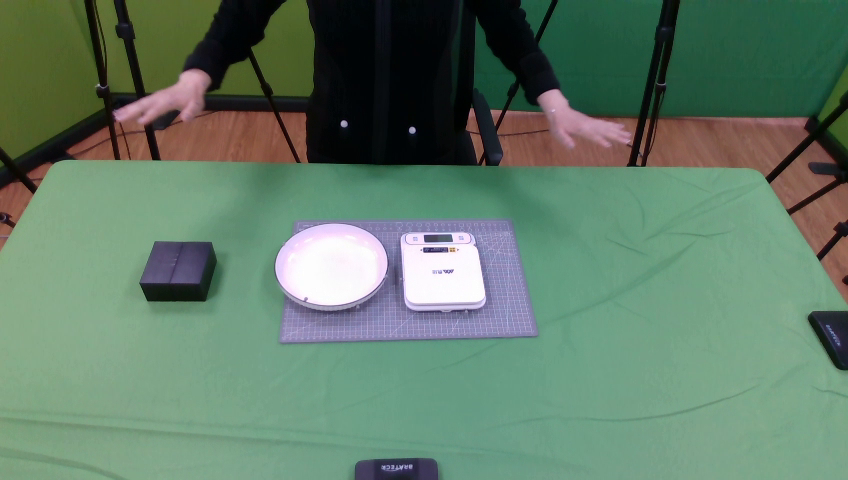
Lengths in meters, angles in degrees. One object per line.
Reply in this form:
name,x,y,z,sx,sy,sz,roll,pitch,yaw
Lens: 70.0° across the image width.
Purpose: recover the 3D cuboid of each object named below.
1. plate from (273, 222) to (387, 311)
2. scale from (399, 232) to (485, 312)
plate,-0.172,0.051,1.120,0.209,0.038,0.208,2,46,-2
scale,0.031,0.050,1.141,0.149,0.032,0.199,-1,46,-5
